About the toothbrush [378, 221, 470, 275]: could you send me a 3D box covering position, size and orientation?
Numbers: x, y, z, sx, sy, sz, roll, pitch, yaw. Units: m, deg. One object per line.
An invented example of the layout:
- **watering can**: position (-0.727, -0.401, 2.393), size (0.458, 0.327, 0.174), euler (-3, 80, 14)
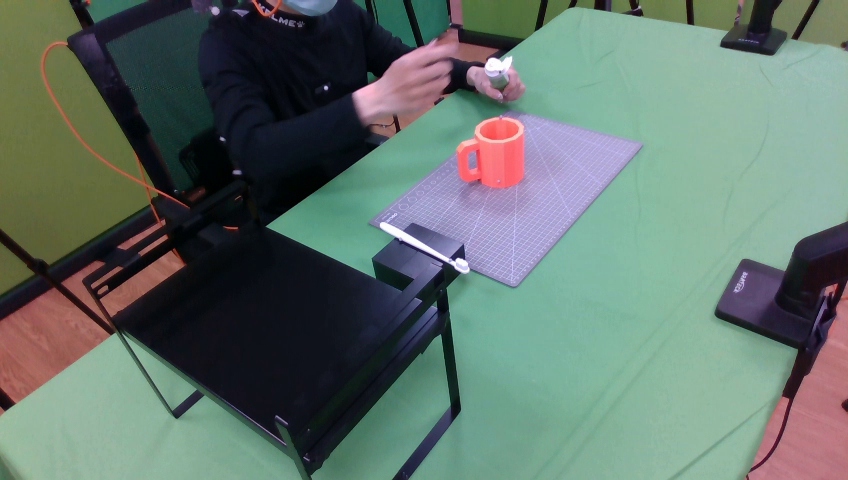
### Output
- **toothbrush**: position (-0.004, 0.007, 0.894), size (0.180, 0.017, 0.014), euler (27, 55, 34)

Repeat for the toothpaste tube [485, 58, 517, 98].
- **toothpaste tube**: position (0.151, -0.322, 1.216), size (0.055, 0.166, 0.034), euler (-1, 81, 15)

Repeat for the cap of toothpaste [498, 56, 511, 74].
- **cap of toothpaste**: position (0.149, -0.327, 1.127), size (0.011, 0.037, 0.037), euler (24, 39, -14)

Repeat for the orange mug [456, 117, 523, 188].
- **orange mug**: position (0.117, -0.152, 1.071), size (0.127, 0.101, 0.083), euler (-14, 41, -14)
